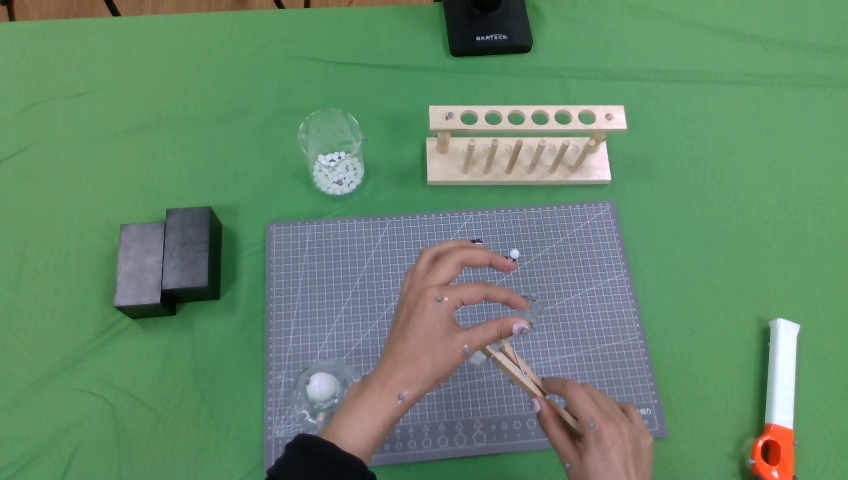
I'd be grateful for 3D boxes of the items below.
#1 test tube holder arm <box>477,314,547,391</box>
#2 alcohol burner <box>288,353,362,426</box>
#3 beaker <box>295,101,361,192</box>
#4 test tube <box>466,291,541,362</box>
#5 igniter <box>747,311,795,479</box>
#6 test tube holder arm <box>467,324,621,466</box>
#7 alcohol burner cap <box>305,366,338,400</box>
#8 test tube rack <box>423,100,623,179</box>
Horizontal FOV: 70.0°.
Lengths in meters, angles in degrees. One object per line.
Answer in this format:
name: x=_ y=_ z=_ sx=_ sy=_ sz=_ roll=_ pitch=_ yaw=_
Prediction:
test tube holder arm: x=0.082 y=0.107 z=0.565 sx=0.010 sy=0.015 sz=0.087 roll=-34 pitch=77 yaw=-24
alcohol burner: x=-0.105 y=0.153 z=0.634 sx=0.078 sy=0.120 sz=0.077 roll=2 pitch=67 yaw=-4
beaker: x=-0.114 y=-0.108 z=0.746 sx=0.074 sy=0.101 sz=0.083 roll=-1 pitch=69 yaw=-3
test tube: x=0.068 y=0.083 z=0.552 sx=0.017 sy=0.151 sz=0.017 roll=8 pitch=60 yaw=-14
igniter: x=0.396 y=0.213 z=0.687 sx=0.057 sy=0.025 sz=0.275 roll=19 pitch=69 yaw=-6
test tube holder arm: x=0.108 y=0.142 z=0.555 sx=0.178 sy=0.015 sz=0.013 roll=44 pitch=65 yaw=9
alcohol burner cap: x=-0.103 y=0.141 z=0.600 sx=0.034 sy=0.048 sz=0.033 roll=1 pitch=73 yaw=-3
test tube rack: x=0.122 y=-0.127 z=0.774 sx=0.242 sy=0.085 sz=0.066 roll=-1 pitch=69 yaw=-3
